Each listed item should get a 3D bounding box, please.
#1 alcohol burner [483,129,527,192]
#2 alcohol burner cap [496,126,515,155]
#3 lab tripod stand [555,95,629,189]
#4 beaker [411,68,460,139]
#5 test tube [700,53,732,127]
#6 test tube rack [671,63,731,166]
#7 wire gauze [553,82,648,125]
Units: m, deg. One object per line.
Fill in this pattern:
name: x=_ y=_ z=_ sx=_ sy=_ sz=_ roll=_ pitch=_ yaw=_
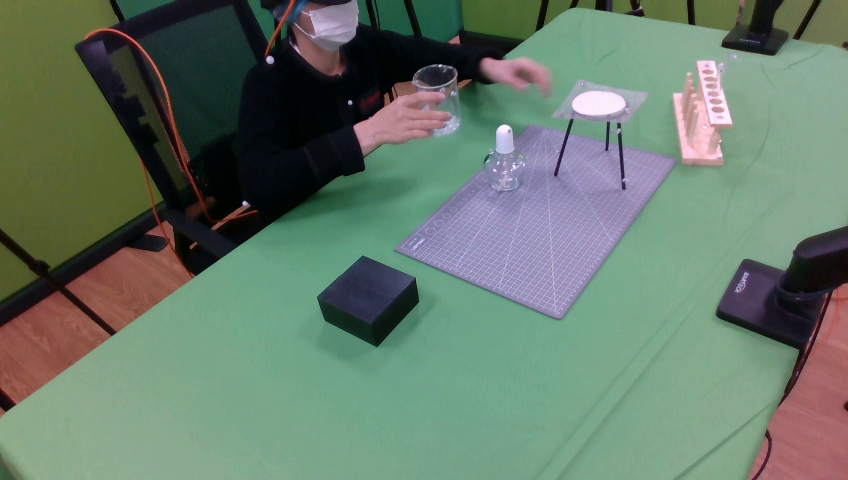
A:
alcohol burner: x=0.141 y=-0.144 z=1.050 sx=0.078 sy=0.119 sz=0.077 roll=-4 pitch=42 yaw=4
alcohol burner cap: x=0.138 y=-0.172 z=1.028 sx=0.034 sy=0.048 sz=0.033 roll=-5 pitch=38 yaw=4
lab tripod stand: x=0.300 y=-0.174 z=1.045 sx=0.148 sy=0.132 sz=0.147 roll=-5 pitch=38 yaw=5
beaker: x=0.023 y=-0.232 z=1.031 sx=0.073 sy=0.101 sz=0.084 roll=12 pitch=47 yaw=23
test tube: x=0.521 y=-0.265 z=1.081 sx=0.017 sy=0.151 sz=0.017 roll=-3 pitch=47 yaw=3
test tube rack: x=0.513 y=-0.241 z=1.132 sx=0.066 sy=0.085 sz=0.242 roll=4 pitch=41 yaw=14
wire gauze: x=0.293 y=-0.225 z=1.002 sx=0.120 sy=0.011 sz=0.125 roll=17 pitch=45 yaw=27
